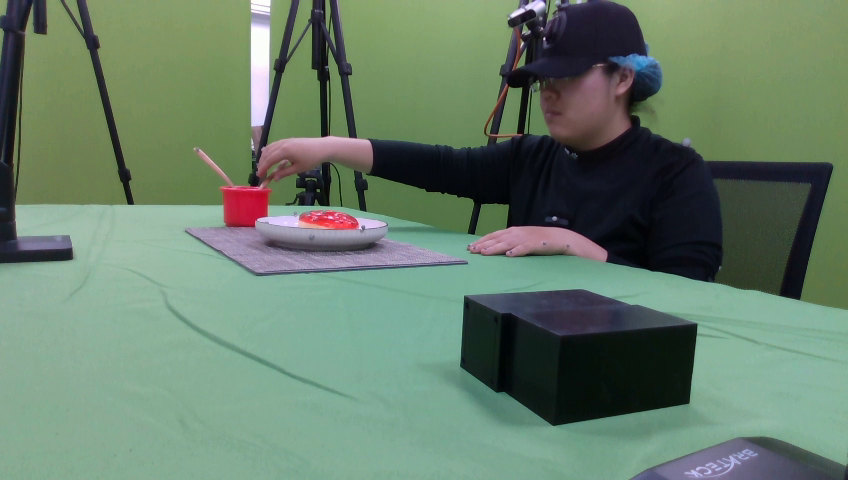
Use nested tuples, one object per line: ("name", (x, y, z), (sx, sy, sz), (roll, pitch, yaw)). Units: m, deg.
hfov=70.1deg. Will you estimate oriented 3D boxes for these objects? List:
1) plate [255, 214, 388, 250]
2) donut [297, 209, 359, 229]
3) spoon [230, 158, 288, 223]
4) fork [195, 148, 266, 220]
("plate", (-0.161, -0.013, 0.961), (0.209, 0.038, 0.209), (2, 7, 0))
("donut", (-0.151, -0.023, 0.955), (0.099, 0.048, 0.099), (5, 7, 0))
("spoon", (-0.322, -0.101, 1.206), (0.041, 0.022, 0.194), (13, 55, 21))
("fork", (-0.386, -0.110, 1.198), (0.028, 0.207, 0.018), (-37, -7, -40))
